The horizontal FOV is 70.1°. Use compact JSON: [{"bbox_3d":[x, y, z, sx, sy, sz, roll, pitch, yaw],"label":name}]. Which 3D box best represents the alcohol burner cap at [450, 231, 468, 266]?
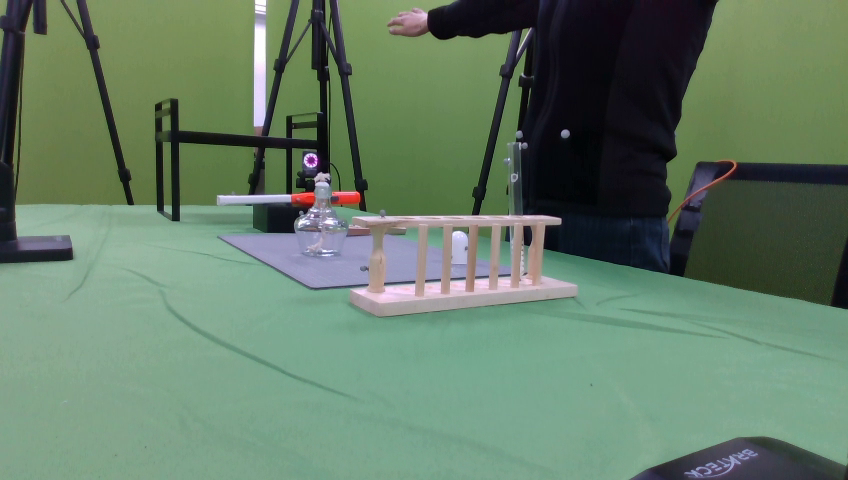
[{"bbox_3d":[0.046,0.011,0.838,0.034,0.048,0.034,2,6,0],"label":"alcohol burner cap"}]

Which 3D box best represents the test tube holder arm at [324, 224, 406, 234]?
[{"bbox_3d":[-0.105,-0.020,1.120,0.179,0.015,0.013,0,30,-43],"label":"test tube holder arm"}]

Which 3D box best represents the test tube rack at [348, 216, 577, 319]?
[{"bbox_3d":[0.048,0.021,0.619,0.244,0.085,0.066,-2,9,-31],"label":"test tube rack"}]

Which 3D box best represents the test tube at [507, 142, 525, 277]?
[{"bbox_3d":[0.101,-0.032,0.664,0.017,0.150,0.017,-3,9,1],"label":"test tube"}]

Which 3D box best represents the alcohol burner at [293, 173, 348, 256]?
[{"bbox_3d":[-0.147,-0.036,0.859,0.078,0.119,0.078,4,8,0],"label":"alcohol burner"}]

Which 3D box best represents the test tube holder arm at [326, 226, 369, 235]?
[{"bbox_3d":[-0.136,-0.017,1.085,0.088,0.015,0.010,0,30,-42],"label":"test tube holder arm"}]

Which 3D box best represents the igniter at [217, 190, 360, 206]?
[{"bbox_3d":[-0.248,-0.080,1.150,0.278,0.025,0.057,-5,7,-29],"label":"igniter"}]
